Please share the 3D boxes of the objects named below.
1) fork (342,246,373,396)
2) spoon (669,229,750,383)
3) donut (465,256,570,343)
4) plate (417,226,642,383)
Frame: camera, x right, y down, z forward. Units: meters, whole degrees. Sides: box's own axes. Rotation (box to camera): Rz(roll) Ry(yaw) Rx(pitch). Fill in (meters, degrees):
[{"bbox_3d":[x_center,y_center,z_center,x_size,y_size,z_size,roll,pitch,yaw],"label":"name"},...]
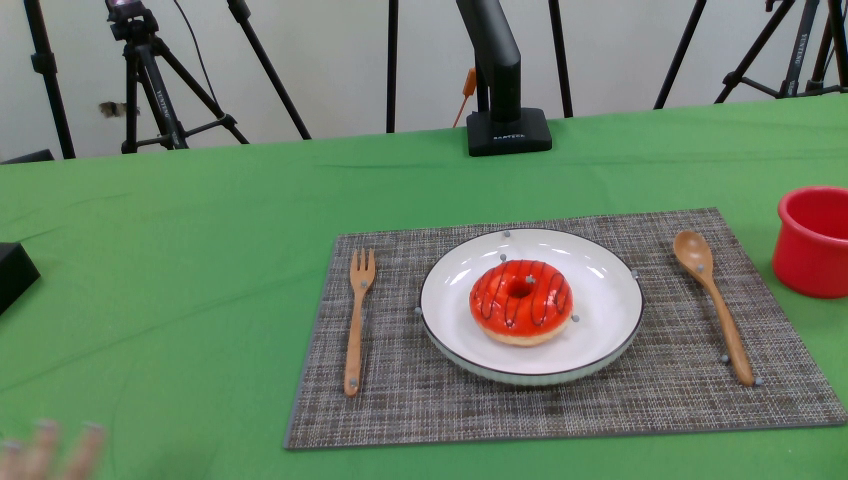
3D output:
[{"bbox_3d":[-0.069,0.072,0.611,0.028,0.019,0.205,0,35,-2],"label":"fork"},{"bbox_3d":[0.272,0.054,0.575,0.042,0.022,0.192,12,37,-4],"label":"spoon"},{"bbox_3d":[0.088,0.055,0.573,0.099,0.049,0.098,-6,39,5],"label":"donut"},{"bbox_3d":[0.099,0.060,0.583,0.209,0.038,0.207,-4,36,4],"label":"plate"}]
